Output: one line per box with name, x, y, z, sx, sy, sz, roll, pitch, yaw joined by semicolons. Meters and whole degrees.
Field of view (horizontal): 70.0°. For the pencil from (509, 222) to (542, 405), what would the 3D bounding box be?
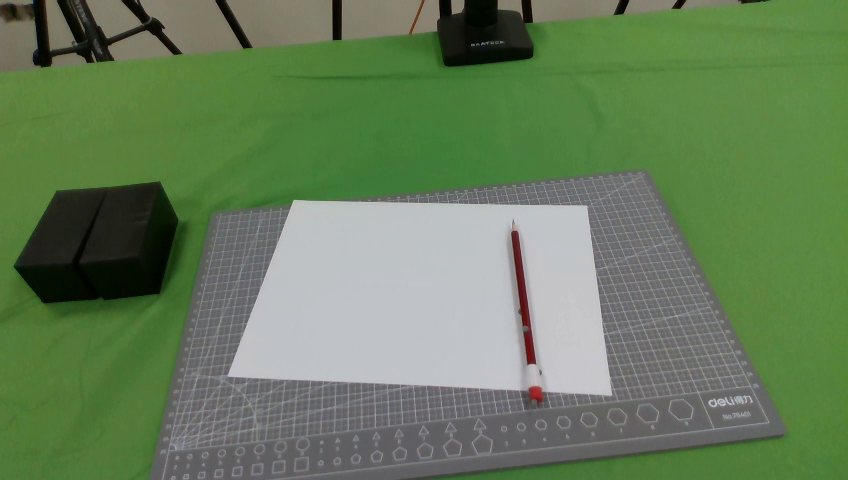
pencil;0.083;0.051;0.512;0.012;0.012;0.192;-2;46;2
